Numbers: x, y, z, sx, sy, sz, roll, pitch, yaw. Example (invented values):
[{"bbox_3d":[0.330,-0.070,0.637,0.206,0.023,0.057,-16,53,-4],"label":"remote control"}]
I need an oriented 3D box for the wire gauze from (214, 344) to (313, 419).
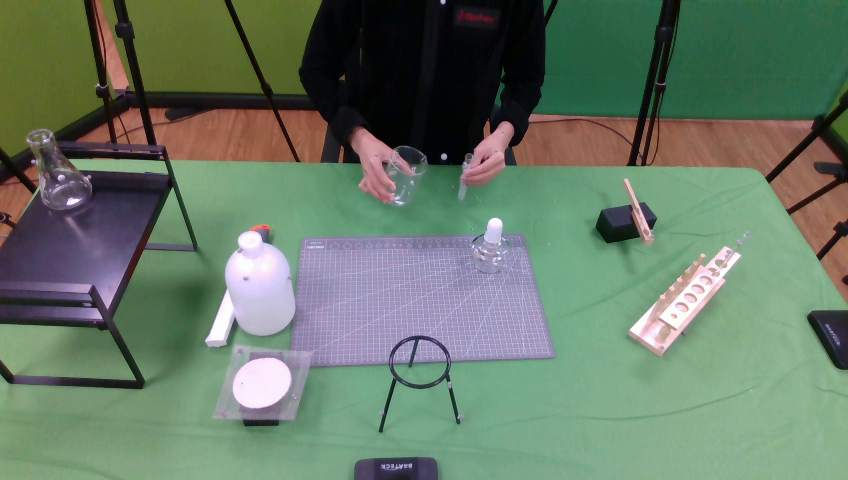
[{"bbox_3d":[-0.241,0.213,0.915,0.121,0.011,0.124,5,46,1],"label":"wire gauze"}]

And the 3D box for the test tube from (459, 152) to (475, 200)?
[{"bbox_3d":[0.083,-0.122,1.185,0.017,0.151,0.017,2,62,-3],"label":"test tube"}]

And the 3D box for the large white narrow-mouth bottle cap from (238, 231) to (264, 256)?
[{"bbox_3d":[-0.266,0.006,0.932,0.038,0.024,0.037,2,46,-2],"label":"large white narrow-mouth bottle cap"}]

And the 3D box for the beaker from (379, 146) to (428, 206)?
[{"bbox_3d":[-0.040,-0.121,1.164,0.084,0.100,0.073,-25,66,-34],"label":"beaker"}]

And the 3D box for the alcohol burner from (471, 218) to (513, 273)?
[{"bbox_3d":[0.128,0.005,1.132,0.078,0.120,0.077,0,47,0],"label":"alcohol burner"}]

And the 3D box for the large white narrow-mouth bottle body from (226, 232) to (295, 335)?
[{"bbox_3d":[-0.270,0.065,0.995,0.102,0.195,0.101,2,46,-2],"label":"large white narrow-mouth bottle body"}]

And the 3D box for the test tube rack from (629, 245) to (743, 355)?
[{"bbox_3d":[0.474,0.095,1.091,0.242,0.085,0.066,-34,56,-31],"label":"test tube rack"}]

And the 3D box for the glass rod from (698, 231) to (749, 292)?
[{"bbox_3d":[0.515,0.044,1.051,0.008,0.200,0.008,1,55,-1],"label":"glass rod"}]

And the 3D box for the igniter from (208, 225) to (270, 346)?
[{"bbox_3d":[-0.331,0.072,1.099,0.057,0.025,0.275,-4,45,10],"label":"igniter"}]

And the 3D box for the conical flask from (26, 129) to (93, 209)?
[{"bbox_3d":[-0.575,-0.113,0.946,0.075,0.122,0.075,2,46,-2],"label":"conical flask"}]

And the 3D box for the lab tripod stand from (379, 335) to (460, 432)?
[{"bbox_3d":[-0.011,0.214,0.911,0.148,0.132,0.147,1,45,0],"label":"lab tripod stand"}]

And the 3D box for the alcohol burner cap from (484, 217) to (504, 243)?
[{"bbox_3d":[0.129,-0.021,1.107,0.034,0.048,0.033,4,41,-3],"label":"alcohol burner cap"}]

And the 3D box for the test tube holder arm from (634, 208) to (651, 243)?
[{"bbox_3d":[0.428,-0.030,1.189,0.010,0.015,0.087,1,47,-2],"label":"test tube holder arm"}]

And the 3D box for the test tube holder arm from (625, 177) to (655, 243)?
[{"bbox_3d":[0.433,-0.062,1.220,0.013,0.015,0.177,1,47,-3],"label":"test tube holder arm"}]
